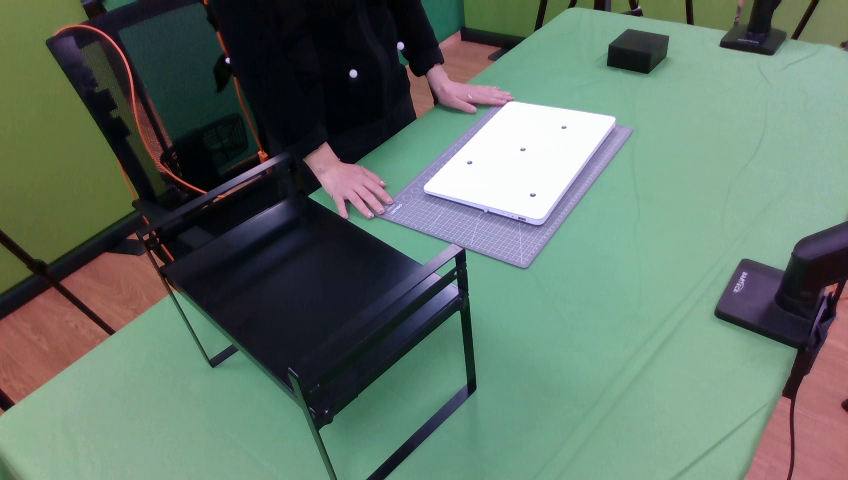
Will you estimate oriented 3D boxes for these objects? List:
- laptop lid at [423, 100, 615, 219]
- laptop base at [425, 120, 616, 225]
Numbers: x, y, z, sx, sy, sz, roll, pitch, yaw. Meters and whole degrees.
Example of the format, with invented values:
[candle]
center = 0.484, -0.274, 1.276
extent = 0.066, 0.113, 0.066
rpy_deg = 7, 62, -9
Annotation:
[laptop lid]
center = 0.184, -0.166, 1.124
extent = 0.240, 0.013, 0.357
rpy_deg = 18, 47, 30
[laptop base]
center = 0.188, -0.156, 1.131
extent = 0.234, 0.023, 0.355
rpy_deg = 16, 46, 30
